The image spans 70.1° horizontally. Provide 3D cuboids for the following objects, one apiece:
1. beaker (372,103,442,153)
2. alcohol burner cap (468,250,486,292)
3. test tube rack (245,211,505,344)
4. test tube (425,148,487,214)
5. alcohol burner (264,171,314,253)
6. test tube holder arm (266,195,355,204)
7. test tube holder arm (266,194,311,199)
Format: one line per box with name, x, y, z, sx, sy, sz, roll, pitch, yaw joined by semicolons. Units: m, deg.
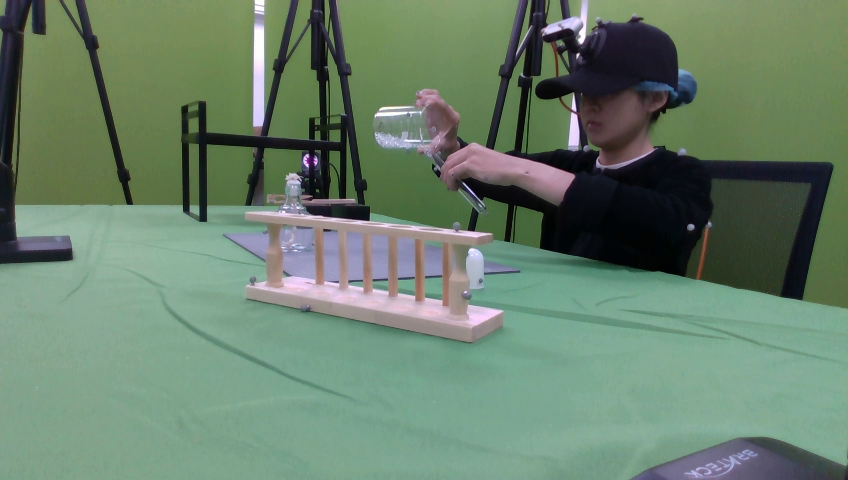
beaker;-0.030;-0.187;1.022;0.100;0.084;0.074;4;-3;29
alcohol burner cap;0.056;0.035;0.690;0.034;0.048;0.034;2;7;0
test tube rack;-0.049;0.025;0.547;0.241;0.085;0.067;7;8;29
test tube;0.051;-0.095;0.972;0.149;0.017;0.017;50;30;22
alcohol burner;-0.194;-0.042;0.888;0.078;0.119;0.078;3;5;0
test tube holder arm;-0.222;-0.081;1.196;0.179;0.013;0.015;-4;3;-30
test tube holder arm;-0.262;-0.084;1.173;0.088;0.010;0.015;-3;2;-30
